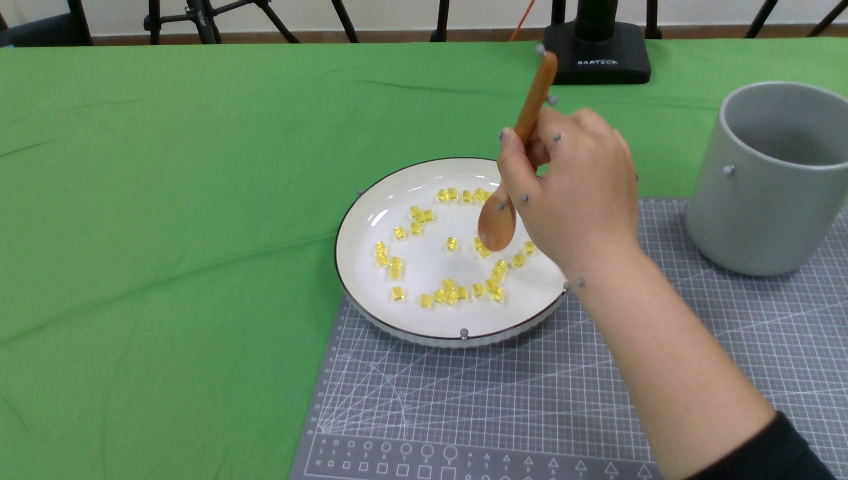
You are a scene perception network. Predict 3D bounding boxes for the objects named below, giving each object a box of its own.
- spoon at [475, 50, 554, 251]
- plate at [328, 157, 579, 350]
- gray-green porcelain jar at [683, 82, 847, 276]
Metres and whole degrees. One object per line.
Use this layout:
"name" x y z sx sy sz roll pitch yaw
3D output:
"spoon" 0.062 -0.052 0.430 0.021 0.195 0.041 -23 62 -17
"plate" 0.024 0.009 0.518 0.207 0.039 0.205 -2 47 3
"gray-green porcelain jar" 0.270 -0.042 0.481 0.106 0.128 0.105 -3 47 4
